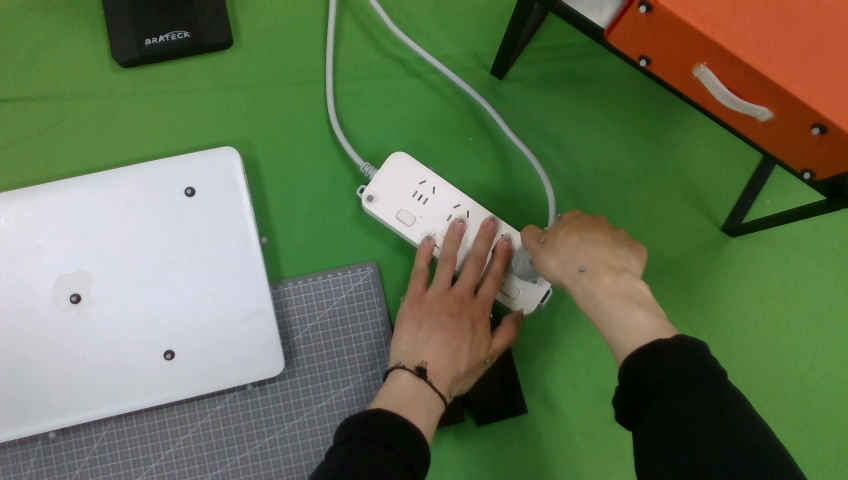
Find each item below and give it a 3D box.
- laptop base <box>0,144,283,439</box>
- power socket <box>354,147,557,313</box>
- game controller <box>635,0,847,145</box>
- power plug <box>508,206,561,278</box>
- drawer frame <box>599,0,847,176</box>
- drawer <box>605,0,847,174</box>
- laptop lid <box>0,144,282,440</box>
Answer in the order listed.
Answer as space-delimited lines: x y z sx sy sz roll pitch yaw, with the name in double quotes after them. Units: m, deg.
-0.334 0.053 0.592 0.355 0.023 0.235 -13 88 -5 "laptop base"
0.034 -0.010 0.615 0.226 0.032 0.072 35 83 1 "power socket"
0.249 -0.152 0.454 0.155 0.051 0.097 37 87 3 "game controller"
0.114 0.006 0.595 0.072 0.053 0.035 -44 88 -5 "power plug"
0.273 -0.192 0.445 0.201 0.083 0.213 33 82 0 "drawer frame"
0.273 -0.189 0.446 0.194 0.073 0.211 34 82 0 "drawer"
-0.333 0.053 0.579 0.357 0.013 0.241 -11 86 -5 "laptop lid"
